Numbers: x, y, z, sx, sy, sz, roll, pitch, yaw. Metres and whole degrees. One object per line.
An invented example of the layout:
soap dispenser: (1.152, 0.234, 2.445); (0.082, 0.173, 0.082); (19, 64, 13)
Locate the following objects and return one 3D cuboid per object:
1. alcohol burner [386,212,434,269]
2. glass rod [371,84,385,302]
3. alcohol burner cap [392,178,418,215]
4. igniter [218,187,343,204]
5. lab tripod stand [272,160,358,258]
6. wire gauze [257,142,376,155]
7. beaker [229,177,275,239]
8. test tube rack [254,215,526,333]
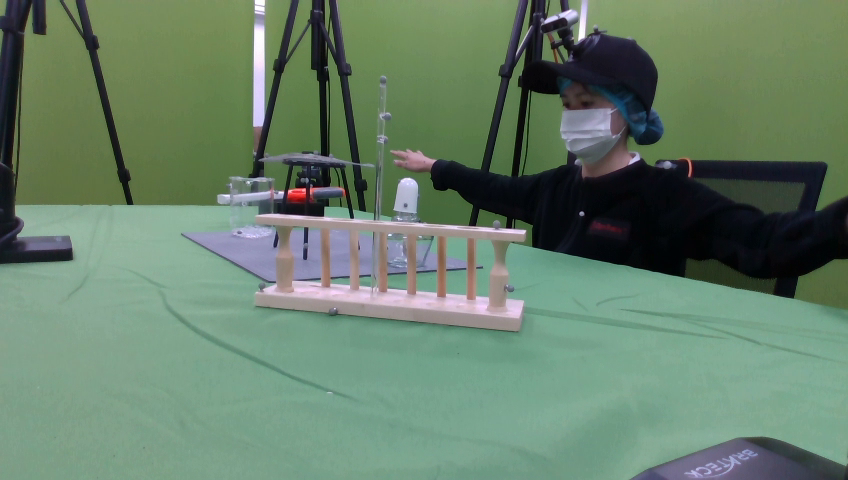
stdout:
alcohol burner: (-0.025, -0.022, 0.800); (0.078, 0.119, 0.078); (1, 6, 0)
glass rod: (-0.041, -0.041, 0.548); (0.008, 0.199, 0.008); (2, 2, 0)
alcohol burner cap: (-0.023, -0.057, 0.795); (0.034, 0.048, 0.034); (6, 6, 0)
igniter: (-0.287, -0.093, 1.257); (0.278, 0.025, 0.057); (-8, 12, -41)
lab tripod stand: (-0.159, -0.048, 0.876); (0.148, 0.131, 0.148); (3, 5, 0)
wire gauze: (-0.155, -0.130, 0.871); (0.124, 0.011, 0.122); (-1, 7, 36)
beaker: (-0.292, -0.056, 1.023); (0.074, 0.100, 0.083); (-1, 8, -26)
test tube rack: (-0.030, 0.025, 0.557); (0.242, 0.085, 0.067); (4, 7, 12)
